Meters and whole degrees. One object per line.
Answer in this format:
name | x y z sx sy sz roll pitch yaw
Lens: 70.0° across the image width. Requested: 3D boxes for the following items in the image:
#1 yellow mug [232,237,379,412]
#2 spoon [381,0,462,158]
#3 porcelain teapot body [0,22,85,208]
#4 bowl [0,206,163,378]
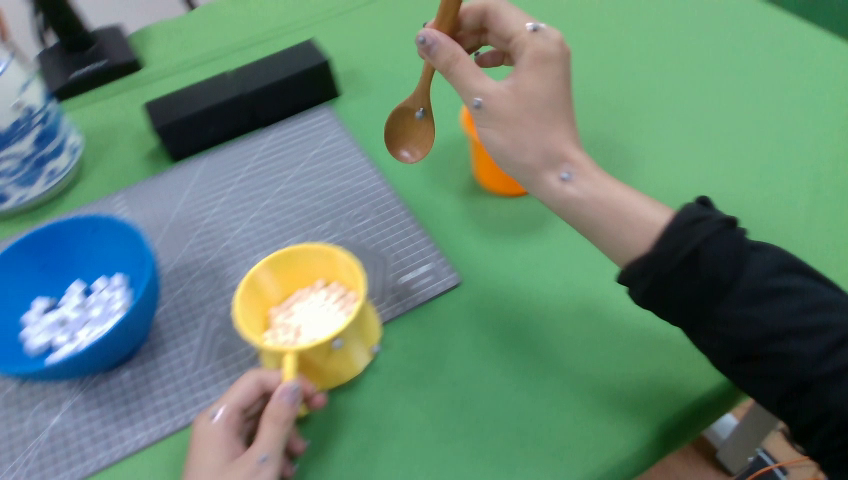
yellow mug | -0.090 0.067 0.464 0.100 0.064 0.129 -4 51 5
spoon | 0.004 -0.118 0.401 0.041 0.194 0.021 29 60 0
porcelain teapot body | -0.477 -0.135 0.579 0.205 0.227 0.143 -22 53 -8
bowl | -0.278 0.054 0.495 0.151 0.077 0.150 -4 52 5
